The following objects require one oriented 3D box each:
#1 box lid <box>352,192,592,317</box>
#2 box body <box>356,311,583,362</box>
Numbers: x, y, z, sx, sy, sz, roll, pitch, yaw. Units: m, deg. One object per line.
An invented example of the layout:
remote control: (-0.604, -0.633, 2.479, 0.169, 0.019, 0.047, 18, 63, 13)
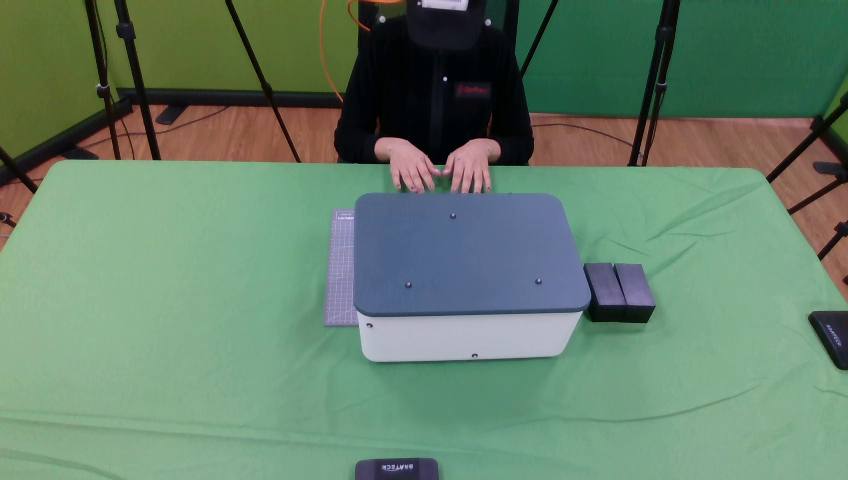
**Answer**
box lid: (0.071, 0.014, 0.986, 0.372, 0.015, 0.261, -1, 47, -5)
box body: (0.065, 0.066, 1.040, 0.364, 0.161, 0.252, -1, 46, -5)
